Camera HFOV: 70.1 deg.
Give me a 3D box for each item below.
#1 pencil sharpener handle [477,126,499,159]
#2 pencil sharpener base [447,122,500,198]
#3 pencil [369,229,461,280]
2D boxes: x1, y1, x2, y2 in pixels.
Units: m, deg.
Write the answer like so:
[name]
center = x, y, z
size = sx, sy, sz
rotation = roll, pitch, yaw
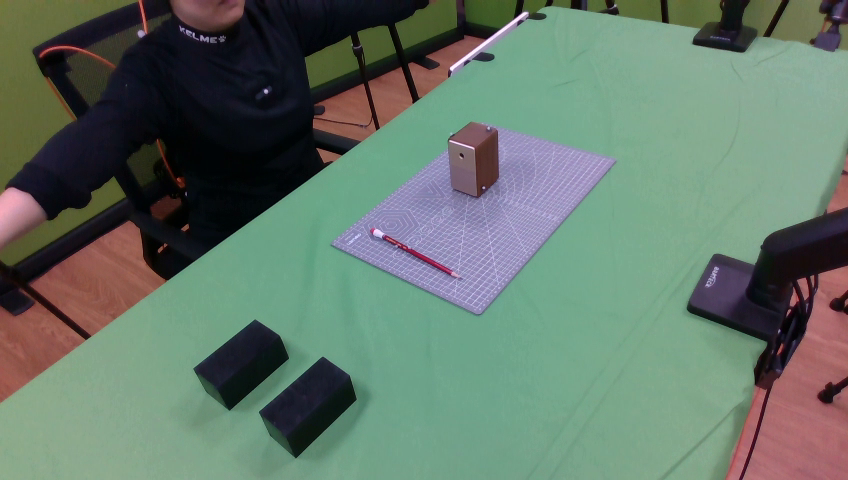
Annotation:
[pencil sharpener handle]
center = 0.119, -0.178, 1.073
size = 0.035, 0.068, 0.031
rotation = 22, 48, 31
[pencil sharpener base]
center = 0.089, -0.140, 1.052
size = 0.061, 0.107, 0.077
rotation = 22, 48, 31
[pencil]
center = -0.016, 0.022, 0.952
size = 0.192, 0.012, 0.012
rotation = 27, 51, 33
